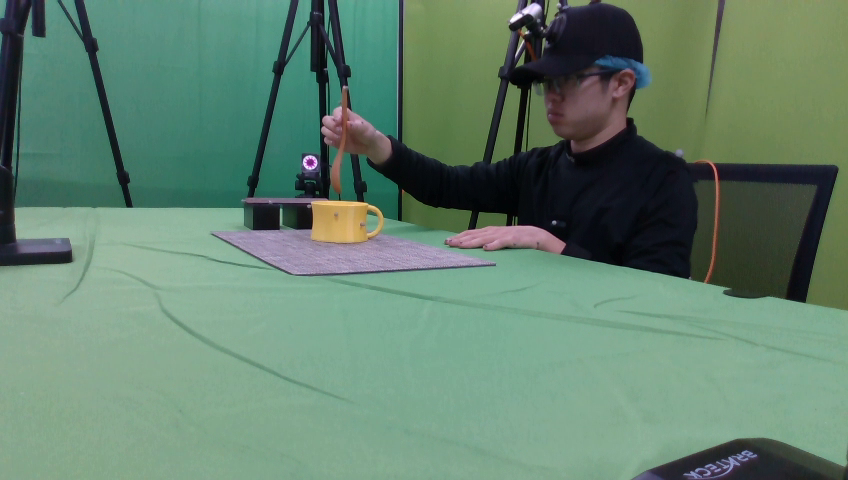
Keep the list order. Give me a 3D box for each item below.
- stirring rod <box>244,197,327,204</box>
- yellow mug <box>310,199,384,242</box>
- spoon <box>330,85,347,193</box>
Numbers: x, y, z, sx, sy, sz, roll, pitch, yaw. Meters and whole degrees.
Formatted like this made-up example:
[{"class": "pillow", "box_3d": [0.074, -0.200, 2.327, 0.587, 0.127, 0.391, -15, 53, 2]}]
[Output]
[{"class": "stirring rod", "box_3d": [-0.270, -0.078, 1.201, 0.177, 0.006, 0.014, -2, 44, -37]}, {"class": "yellow mug", "box_3d": [-0.132, -0.035, 1.054, 0.131, 0.064, 0.099, 0, 8, -23]}, {"class": "spoon", "box_3d": [-0.152, -0.182, 1.098, 0.022, 0.193, 0.041, 6, 9, -22]}]
